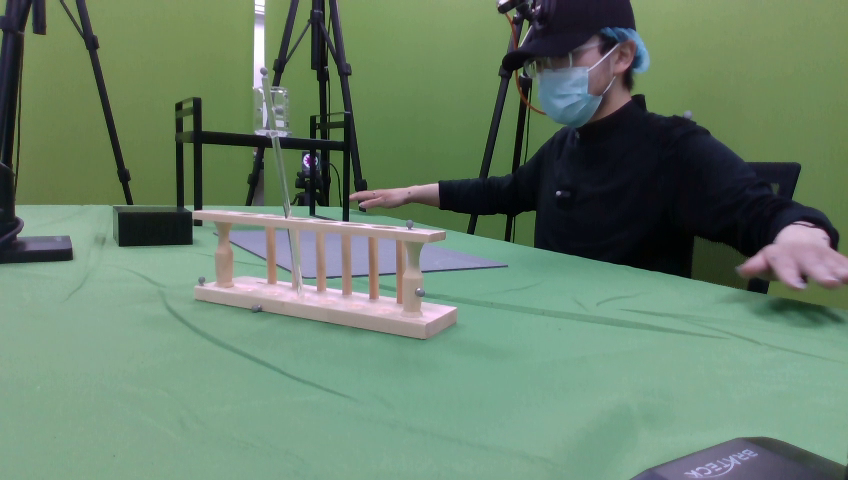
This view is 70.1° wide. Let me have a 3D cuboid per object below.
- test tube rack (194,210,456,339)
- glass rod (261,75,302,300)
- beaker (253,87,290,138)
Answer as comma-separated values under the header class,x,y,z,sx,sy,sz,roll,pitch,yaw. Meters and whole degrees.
class,x,y,z,sx,sy,sz,roll,pitch,yaw
test tube rack,-0.093,0.023,0.545,0.241,0.085,0.067,6,8,25
glass rod,-0.124,-0.043,0.531,0.008,0.199,0.008,-7,8,1
beaker,-0.319,-0.265,1.259,0.073,0.100,0.084,7,9,33
